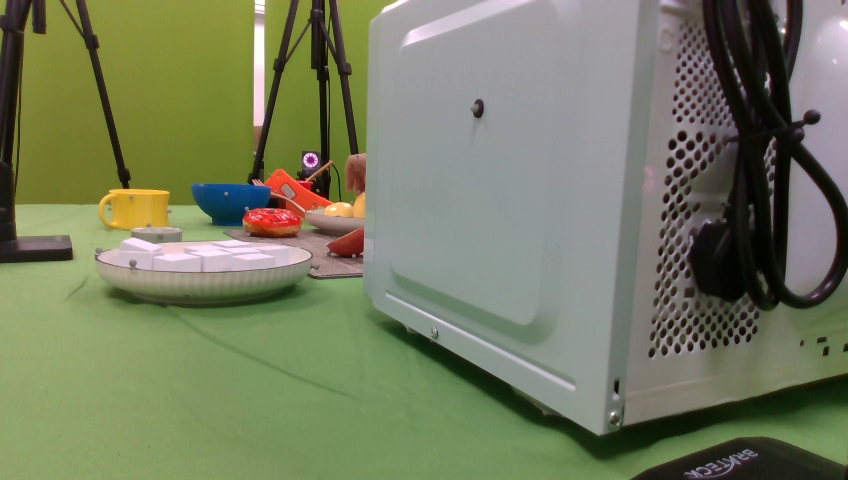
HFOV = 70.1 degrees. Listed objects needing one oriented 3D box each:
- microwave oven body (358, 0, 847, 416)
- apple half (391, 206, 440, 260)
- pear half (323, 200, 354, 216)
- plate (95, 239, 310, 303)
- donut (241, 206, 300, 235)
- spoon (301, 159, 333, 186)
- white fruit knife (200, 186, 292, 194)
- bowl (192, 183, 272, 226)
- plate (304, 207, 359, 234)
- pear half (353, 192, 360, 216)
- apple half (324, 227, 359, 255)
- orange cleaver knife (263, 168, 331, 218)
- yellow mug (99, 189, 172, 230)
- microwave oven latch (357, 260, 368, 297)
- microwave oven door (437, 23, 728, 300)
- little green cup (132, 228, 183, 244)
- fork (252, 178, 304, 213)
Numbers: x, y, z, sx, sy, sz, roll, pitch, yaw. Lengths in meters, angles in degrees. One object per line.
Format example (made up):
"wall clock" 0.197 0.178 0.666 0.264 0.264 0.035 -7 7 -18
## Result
"microwave oven body" 0.211 -0.047 0.474 0.444 0.260 0.324 -1 7 -28
"apple half" -0.006 -0.009 0.837 0.053 0.074 0.081 10 6 23
"pear half" -0.155 -0.059 1.197 0.088 0.031 0.070 15 32 -3
"plate" -0.224 0.031 0.629 0.208 0.039 0.207 2 8 0
"donut" -0.263 -0.032 1.039 0.099 0.048 0.099 4 10 0
"spoon" -0.316 -0.159 1.639 0.194 0.022 0.041 -49 32 -20
"white fruit knife" -0.399 -0.111 1.368 0.208 0.016 0.027 -4 -19 -30
"bowl" -0.381 -0.071 1.202 0.151 0.077 0.151 3 7 0
"plate" -0.123 -0.037 1.149 0.209 0.038 0.209 2 7 0
"pear half" -0.086 -0.077 1.115 0.076 0.056 0.110 19 53 14
"apple half" -0.095 0.002 0.848 0.081 0.033 0.081 -21 0 0
"orange cleaver knife" -0.262 -0.088 1.353 0.211 0.077 0.012 28 13 -1
"yellow mug" -0.518 -0.055 1.080 0.099 0.064 0.131 6 9 26
"microwave oven latch" -0.019 0.033 0.531 0.079 0.029 0.030 -1 7 -27
"microwave oven door" 0.180 -0.072 0.621 0.358 0.243 0.039 -2 9 -29
"little green cup" -0.342 0.006 0.779 0.061 0.038 0.061 2 8 0
"fork" -0.295 -0.084 1.292 0.206 0.018 0.028 29 11 25
